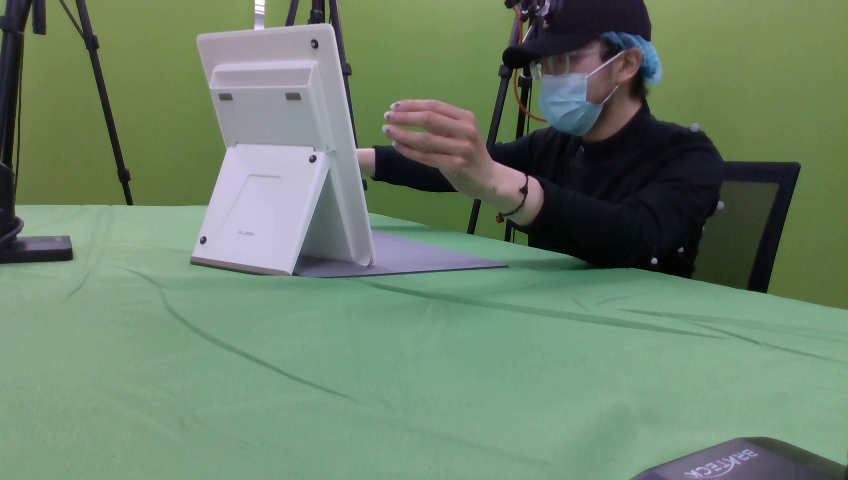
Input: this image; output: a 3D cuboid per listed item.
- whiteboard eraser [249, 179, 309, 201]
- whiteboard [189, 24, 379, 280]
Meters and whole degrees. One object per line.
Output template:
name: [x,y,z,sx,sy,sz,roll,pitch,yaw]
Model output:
whiteboard eraser: [-0.301,-0.104,1.260,0.113,0.042,0.055,-10,12,-42]
whiteboard: [-0.207,-0.085,0.729,0.216,0.305,0.144,7,29,30]
